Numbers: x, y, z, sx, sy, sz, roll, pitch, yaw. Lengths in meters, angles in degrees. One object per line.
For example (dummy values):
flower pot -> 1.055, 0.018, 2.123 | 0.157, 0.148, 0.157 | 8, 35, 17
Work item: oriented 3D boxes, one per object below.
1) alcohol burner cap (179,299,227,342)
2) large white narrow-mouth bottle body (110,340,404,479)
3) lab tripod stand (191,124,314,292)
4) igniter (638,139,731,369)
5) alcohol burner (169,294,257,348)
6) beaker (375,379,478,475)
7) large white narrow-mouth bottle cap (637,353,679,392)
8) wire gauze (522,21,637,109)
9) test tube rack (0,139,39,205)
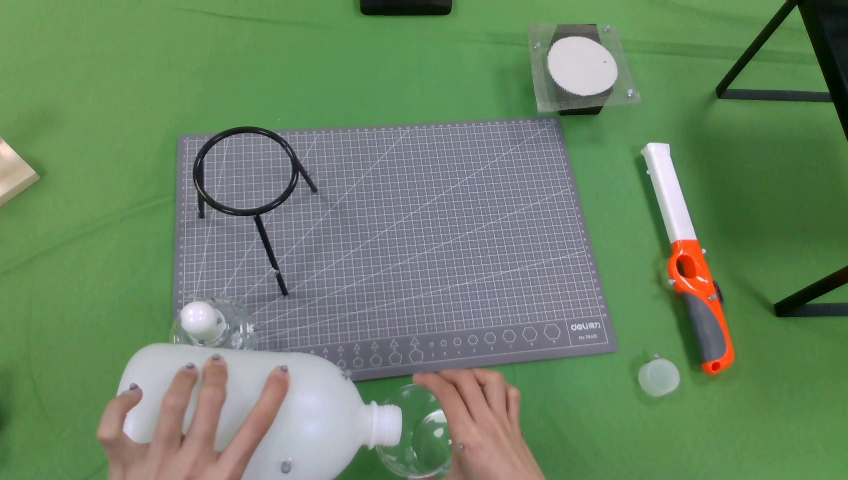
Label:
alcohol burner cap -> -0.189, 0.067, 0.514 | 0.034, 0.048, 0.033 | 2, 72, -5
large white narrow-mouth bottle body -> -0.113, 0.130, 0.444 | 0.195, 0.102, 0.101 | 6, 66, -12
lab tripod stand -> -0.162, -0.036, 0.590 | 0.149, 0.132, 0.147 | 3, 67, -7
igniter -> 0.291, 0.007, 0.683 | 0.057, 0.025, 0.274 | 0, 67, -18
alcohol burner -> -0.193, 0.080, 0.548 | 0.078, 0.120, 0.077 | 3, 65, -7
beaker -> 0.004, 0.167, 0.533 | 0.083, 0.101, 0.073 | 13, 71, 20
large white narrow-mouth bottle cap -> 0.241, 0.138, 0.627 | 0.038, 0.024, 0.037 | 2, 66, -4
wire gauze -> 0.183, -0.212, 0.723 | 0.122, 0.011, 0.124 | -3, 68, -7
test tube rack -> -0.513, -0.026, 0.575 | 0.066, 0.085, 0.242 | 41, 68, 11
